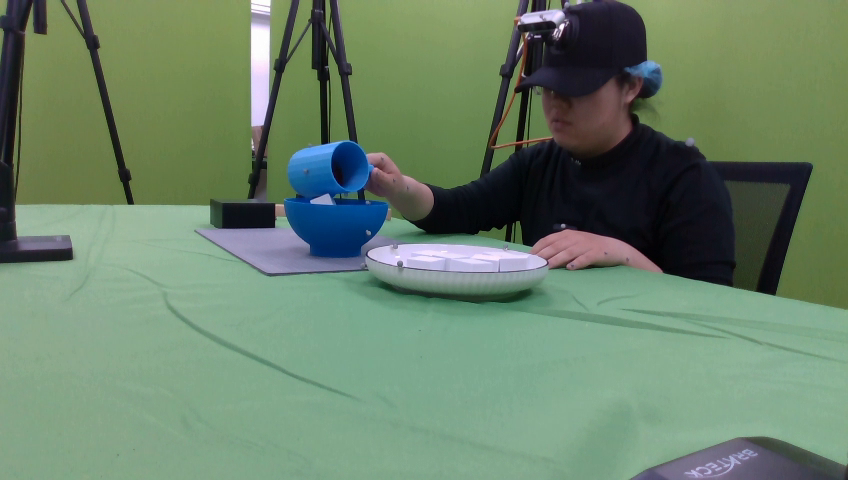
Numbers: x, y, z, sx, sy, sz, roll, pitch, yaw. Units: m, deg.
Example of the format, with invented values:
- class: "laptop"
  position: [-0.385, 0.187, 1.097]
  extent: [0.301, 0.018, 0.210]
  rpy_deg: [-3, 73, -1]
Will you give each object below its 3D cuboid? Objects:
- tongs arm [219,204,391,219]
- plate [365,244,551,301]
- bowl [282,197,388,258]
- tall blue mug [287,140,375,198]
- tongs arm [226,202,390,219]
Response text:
- class: "tongs arm"
  position: [-0.258, -0.064, 1.367]
  extent: [0.386, 0.026, 0.050]
  rpy_deg: [1, 3, -17]
- class: "plate"
  position: [0.038, 0.036, 0.685]
  extent: [0.209, 0.038, 0.209]
  rpy_deg: [2, 7, 0]
- class: "bowl"
  position: [-0.127, -0.018, 0.868]
  extent: [0.151, 0.077, 0.151]
  rpy_deg: [2, 7, 0]
- class: "tall blue mug"
  position: [-0.137, -0.115, 0.932]
  extent: [0.107, 0.078, 0.107]
  rpy_deg: [-2, 29, 44]
- class: "tongs arm"
  position: [-0.275, -0.071, 1.446]
  extent: [0.388, 0.027, 0.028]
  rpy_deg: [2, -1, -4]
